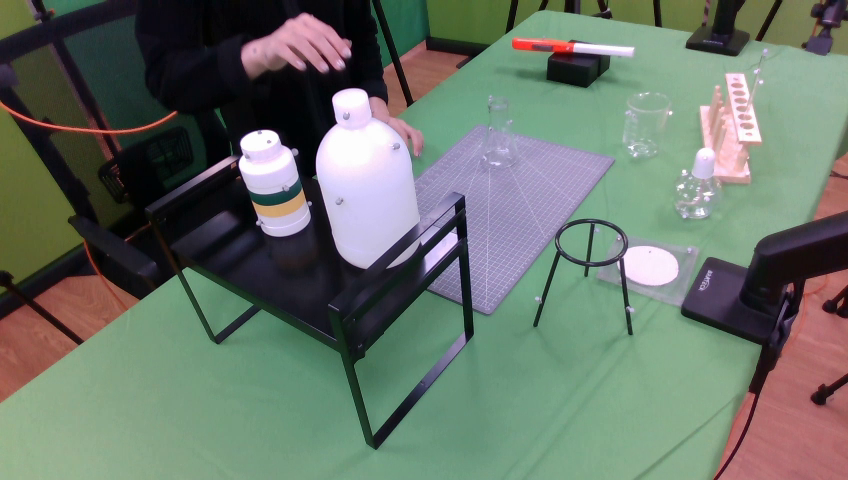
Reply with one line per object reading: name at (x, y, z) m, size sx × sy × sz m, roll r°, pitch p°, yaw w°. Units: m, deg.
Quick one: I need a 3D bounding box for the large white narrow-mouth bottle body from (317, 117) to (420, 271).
large white narrow-mouth bottle body at (-0.062, -0.065, 0.653) m, size 0.102 × 0.195 × 0.101 m, roll -3°, pitch 41°, yaw 3°

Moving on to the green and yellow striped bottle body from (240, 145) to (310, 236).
green and yellow striped bottle body at (-0.181, -0.068, 0.729) m, size 0.063 × 0.120 × 0.063 m, roll -4°, pitch 40°, yaw 4°

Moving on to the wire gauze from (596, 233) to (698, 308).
wire gauze at (0.331, 0.037, 0.897) m, size 0.124 × 0.011 × 0.121 m, roll 18°, pitch 47°, yaw 26°

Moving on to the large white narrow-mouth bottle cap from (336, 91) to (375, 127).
large white narrow-mouth bottle cap at (-0.068, -0.129, 0.595) m, size 0.038 × 0.024 × 0.037 m, roll -3°, pitch 41°, yaw 3°

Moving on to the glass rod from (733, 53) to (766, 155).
glass rod at (0.540, -0.220, 1.007) m, size 0.008 × 0.201 × 0.008 m, roll -5°, pitch 46°, yaw 6°

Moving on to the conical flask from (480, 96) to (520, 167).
conical flask at (0.138, -0.201, 1.111) m, size 0.075 × 0.122 × 0.075 m, roll -4°, pitch 41°, yaw 4°

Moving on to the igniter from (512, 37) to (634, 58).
igniter at (0.328, -0.433, 1.360) m, size 0.275 × 0.025 × 0.057 m, roll 12°, pitch 33°, yaw 20°

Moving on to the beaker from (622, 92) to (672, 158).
beaker at (0.402, -0.210, 1.106) m, size 0.074 × 0.101 × 0.083 m, roll -8°, pitch 40°, yaw -2°

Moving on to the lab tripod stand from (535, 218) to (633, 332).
lab tripod stand at (0.215, 0.050, 0.803) m, size 0.148 × 0.132 × 0.147 m, roll -4°, pitch 43°, yaw 4°

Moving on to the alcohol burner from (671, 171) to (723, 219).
alcohol burner at (0.434, -0.093, 0.955) m, size 0.078 × 0.119 × 0.077 m, roll -3°, pitch 43°, yaw 4°

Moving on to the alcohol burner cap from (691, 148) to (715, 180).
alcohol burner cap at (0.432, -0.120, 0.930) m, size 0.034 × 0.048 × 0.033 m, roll -7°, pitch 48°, yaw 8°

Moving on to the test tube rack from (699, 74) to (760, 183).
test tube rack at (0.547, -0.208, 1.095) m, size 0.066 × 0.085 × 0.242 m, roll 6°, pitch 42°, yaw 16°

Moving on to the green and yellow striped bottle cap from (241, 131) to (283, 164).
green and yellow striped bottle cap at (-0.187, -0.107, 0.695) m, size 0.045 × 0.020 × 0.045 m, roll -3°, pitch 39°, yaw 3°
